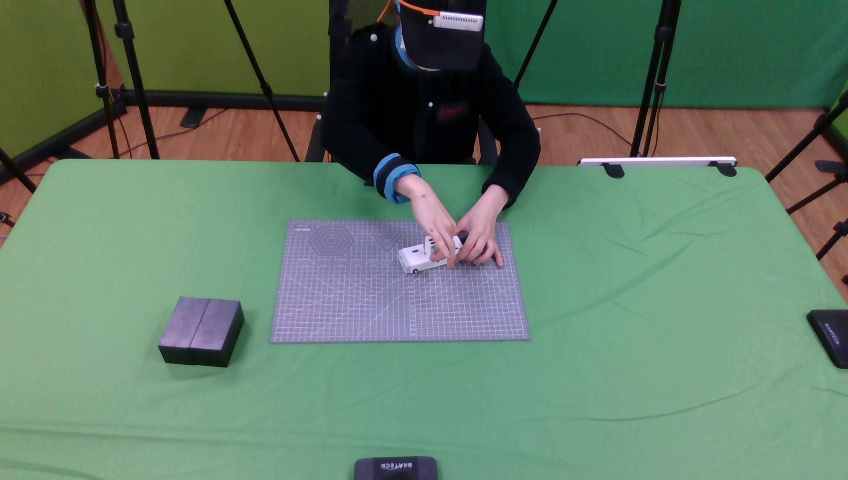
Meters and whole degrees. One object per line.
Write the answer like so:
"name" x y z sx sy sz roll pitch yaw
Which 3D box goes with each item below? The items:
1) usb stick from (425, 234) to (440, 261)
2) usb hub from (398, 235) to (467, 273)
"usb stick" 0.016 0.018 1.133 0.021 0.059 0.027 -18 54 -16
"usb hub" 0.016 0.027 1.166 0.125 0.025 0.049 -14 49 -16
